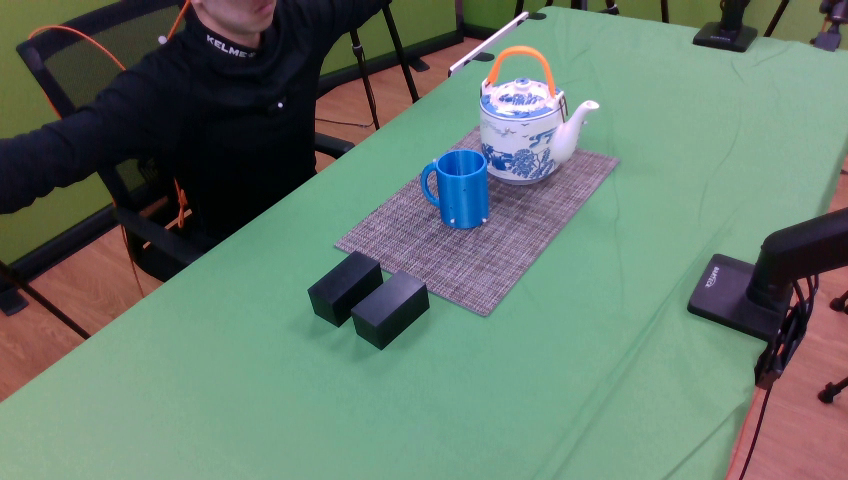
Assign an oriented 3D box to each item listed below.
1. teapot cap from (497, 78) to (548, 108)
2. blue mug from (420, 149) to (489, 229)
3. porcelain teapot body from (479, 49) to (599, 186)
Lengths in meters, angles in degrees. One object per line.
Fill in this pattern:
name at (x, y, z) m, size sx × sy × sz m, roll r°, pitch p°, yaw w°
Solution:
teapot cap at (0.164, -0.246, 1.009) m, size 0.085 × 0.044 × 0.084 m, roll -4°, pitch 44°, yaw 4°
blue mug at (0.048, -0.085, 0.991) m, size 0.116 × 0.106 × 0.082 m, roll 9°, pitch 43°, yaw 19°
porcelain teapot body at (0.192, -0.208, 1.023) m, size 0.204 × 0.226 × 0.145 m, roll 17°, pitch 46°, yaw 25°
